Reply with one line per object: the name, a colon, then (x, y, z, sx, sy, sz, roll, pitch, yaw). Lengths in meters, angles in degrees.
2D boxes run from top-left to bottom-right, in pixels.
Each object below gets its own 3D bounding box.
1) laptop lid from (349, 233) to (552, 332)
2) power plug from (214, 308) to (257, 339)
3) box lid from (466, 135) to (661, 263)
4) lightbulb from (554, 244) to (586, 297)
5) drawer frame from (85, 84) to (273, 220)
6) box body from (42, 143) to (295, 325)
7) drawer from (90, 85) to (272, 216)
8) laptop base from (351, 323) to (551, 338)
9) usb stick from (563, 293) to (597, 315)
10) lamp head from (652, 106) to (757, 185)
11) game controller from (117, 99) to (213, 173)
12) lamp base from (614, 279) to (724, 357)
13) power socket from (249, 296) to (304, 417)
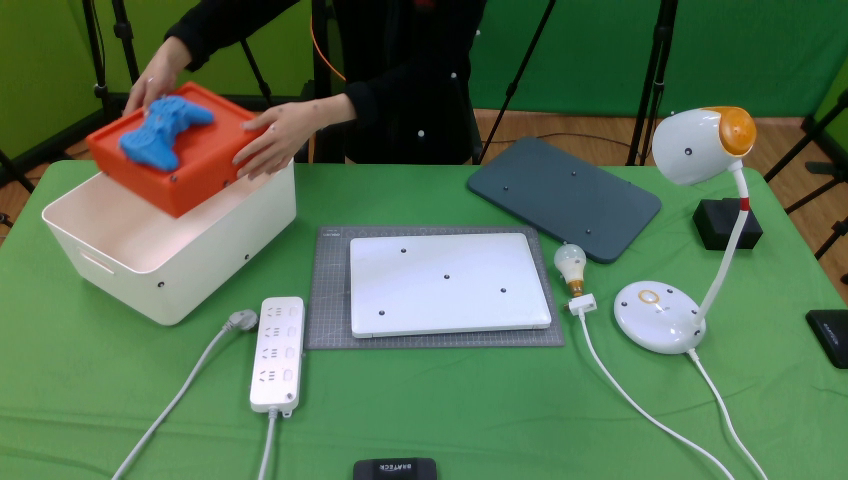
laptop lid: (0.040, 0.070, 1.119, 0.357, 0.013, 0.240, -1, 44, -5)
power plug: (-0.317, 0.143, 1.024, 0.072, 0.053, 0.035, -32, 58, -8)
box lid: (0.306, -0.102, 1.327, 0.370, 0.015, 0.263, 32, 52, 25)
lightbulb: (0.281, 0.058, 1.146, 0.059, 0.060, 0.107, -2, 62, -6)
drawer frame: (-0.401, -0.154, 1.014, 0.201, 0.083, 0.213, 28, 51, 20)
box body: (-0.437, -0.046, 1.110, 0.253, 0.161, 0.363, 24, 49, 19)
drawer: (-0.400, -0.155, 1.016, 0.194, 0.073, 0.211, 29, 51, 19)
laptop base: (0.039, 0.080, 1.125, 0.355, 0.023, 0.234, -2, 43, -6)
usb stick: (0.280, 0.118, 1.092, 0.059, 0.021, 0.027, -18, 34, 25)
lamp head: (0.410, -0.139, 0.869, 0.113, 0.122, 0.112, 0, 89, -19)
game controller: (-0.411, -0.172, 0.959, 0.097, 0.052, 0.154, 7, 45, 9)
lamp base: (0.436, 0.090, 1.035, 0.161, 0.181, 0.178, -23, 55, -23)
power socket: (-0.239, 0.182, 0.996, 0.072, 0.033, 0.225, -2, 47, -5)
